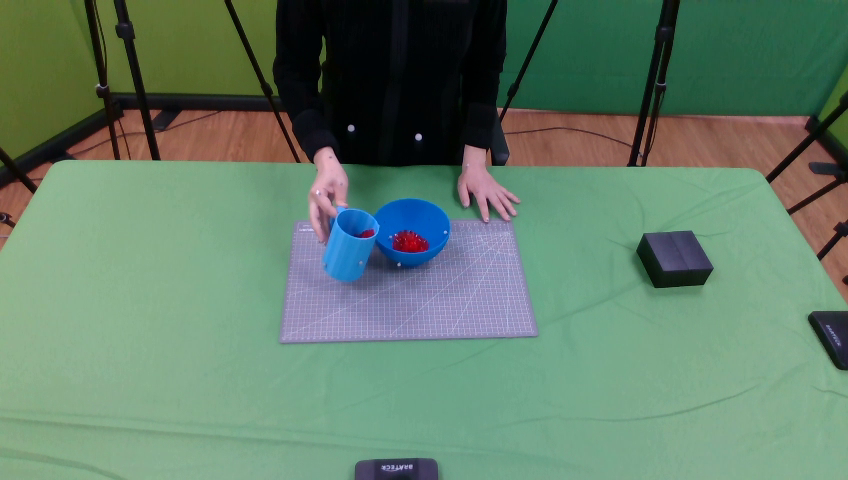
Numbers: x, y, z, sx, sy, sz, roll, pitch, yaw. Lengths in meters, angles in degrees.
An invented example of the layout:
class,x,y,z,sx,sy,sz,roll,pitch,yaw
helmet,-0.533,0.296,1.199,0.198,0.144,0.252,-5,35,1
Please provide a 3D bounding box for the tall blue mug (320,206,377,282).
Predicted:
class,x,y,z,sx,sy,sz,roll,pitch,yaw
tall blue mug,-0.145,0.001,1.056,0.107,0.108,0.077,35,41,12

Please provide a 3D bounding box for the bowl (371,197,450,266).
class,x,y,z,sx,sy,sz,roll,pitch,yaw
bowl,-0.028,-0.003,1.156,0.151,0.077,0.150,2,46,-2
